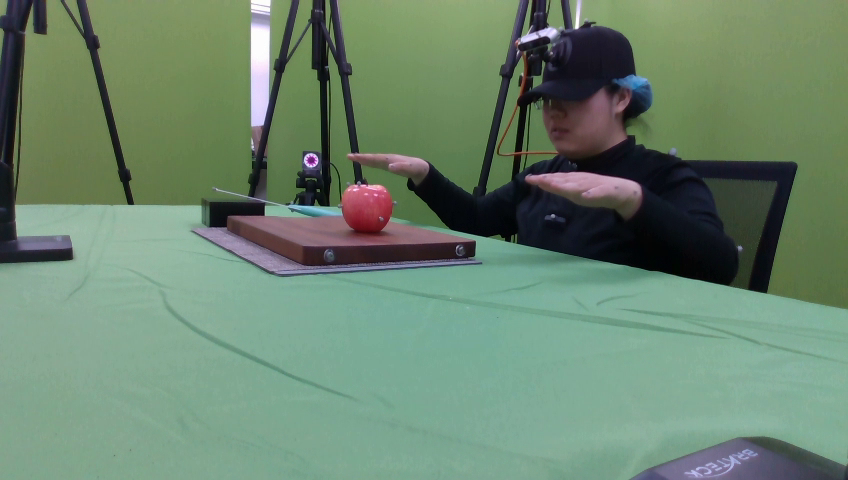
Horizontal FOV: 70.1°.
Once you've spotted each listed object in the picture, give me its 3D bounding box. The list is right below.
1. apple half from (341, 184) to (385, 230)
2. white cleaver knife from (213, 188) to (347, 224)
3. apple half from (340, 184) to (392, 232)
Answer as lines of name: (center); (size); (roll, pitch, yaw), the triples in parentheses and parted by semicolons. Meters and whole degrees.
apple half: (-0.103, -0.055, 0.968); (0.082, 0.081, 0.032); (-2, 13, -32)
white cleaver knife: (-0.281, -0.067, 1.227); (0.288, 0.021, 0.065); (11, 6, -29)
apple half: (-0.084, -0.048, 0.936); (0.081, 0.074, 0.053); (1, 11, -32)
